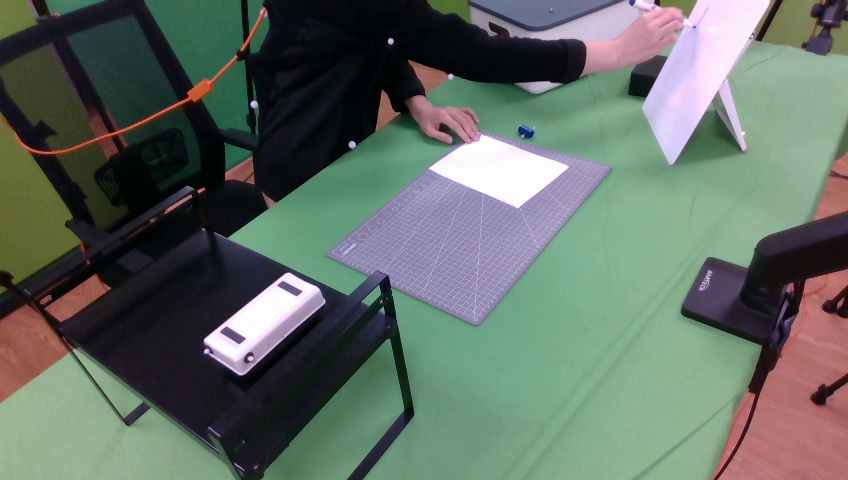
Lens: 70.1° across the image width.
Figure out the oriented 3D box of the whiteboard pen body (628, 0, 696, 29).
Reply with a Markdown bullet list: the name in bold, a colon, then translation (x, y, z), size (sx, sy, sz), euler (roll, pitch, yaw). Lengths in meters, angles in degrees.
- **whiteboard pen body**: translation (0.423, -0.398, 1.070), size (0.141, 0.017, 0.017), euler (14, 38, -16)

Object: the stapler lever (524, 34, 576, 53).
- **stapler lever**: translation (0.297, -0.462, 1.424), size (0.117, 0.040, 0.027), euler (5, 23, 17)

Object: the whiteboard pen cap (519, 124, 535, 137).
- **whiteboard pen cap**: translation (0.206, -0.218, 1.205), size (0.018, 0.018, 0.033), euler (-28, 44, -23)

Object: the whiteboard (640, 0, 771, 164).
- **whiteboard**: translation (0.543, -0.299, 1.076), size (0.144, 0.305, 0.216), euler (12, 40, -7)

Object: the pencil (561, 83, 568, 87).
- **pencil**: translation (0.248, -0.393, 1.398), size (0.193, 0.012, 0.012), euler (32, 53, 24)

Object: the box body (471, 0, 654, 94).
- **box body**: translation (0.319, -0.498, 1.405), size (0.365, 0.161, 0.252), euler (-26, 43, -21)

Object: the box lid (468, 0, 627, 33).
- **box lid**: translation (0.312, -0.554, 1.358), size (0.373, 0.015, 0.261), euler (-26, 44, -20)

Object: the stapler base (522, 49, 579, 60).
- **stapler base**: translation (0.300, -0.441, 1.433), size (0.130, 0.024, 0.041), euler (3, 22, 18)

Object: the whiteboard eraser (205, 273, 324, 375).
- **whiteboard eraser**: translation (-0.157, 0.084, 0.605), size (0.055, 0.042, 0.113), euler (24, 49, 30)
